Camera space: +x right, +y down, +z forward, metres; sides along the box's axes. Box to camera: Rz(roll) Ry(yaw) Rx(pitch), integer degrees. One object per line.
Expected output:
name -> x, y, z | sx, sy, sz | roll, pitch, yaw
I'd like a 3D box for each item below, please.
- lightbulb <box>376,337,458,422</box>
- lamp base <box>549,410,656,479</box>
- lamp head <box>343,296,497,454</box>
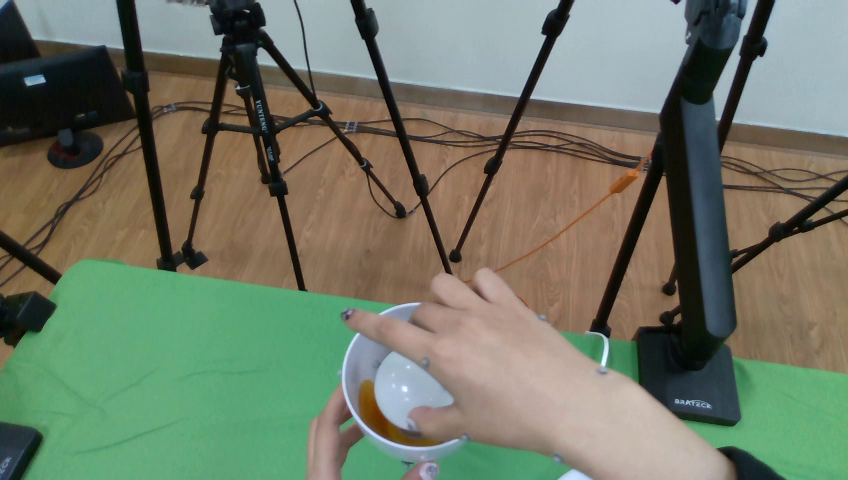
lightbulb -> -0.005, 0.111, 0.456 | 0.059, 0.108, 0.059 | 0, 64, 0
lamp base -> 0.203, 0.259, 0.611 | 0.161, 0.182, 0.177 | -3, 50, -4
lamp head -> 0.001, 0.119, 0.481 | 0.112, 0.124, 0.111 | -2, 57, 4
